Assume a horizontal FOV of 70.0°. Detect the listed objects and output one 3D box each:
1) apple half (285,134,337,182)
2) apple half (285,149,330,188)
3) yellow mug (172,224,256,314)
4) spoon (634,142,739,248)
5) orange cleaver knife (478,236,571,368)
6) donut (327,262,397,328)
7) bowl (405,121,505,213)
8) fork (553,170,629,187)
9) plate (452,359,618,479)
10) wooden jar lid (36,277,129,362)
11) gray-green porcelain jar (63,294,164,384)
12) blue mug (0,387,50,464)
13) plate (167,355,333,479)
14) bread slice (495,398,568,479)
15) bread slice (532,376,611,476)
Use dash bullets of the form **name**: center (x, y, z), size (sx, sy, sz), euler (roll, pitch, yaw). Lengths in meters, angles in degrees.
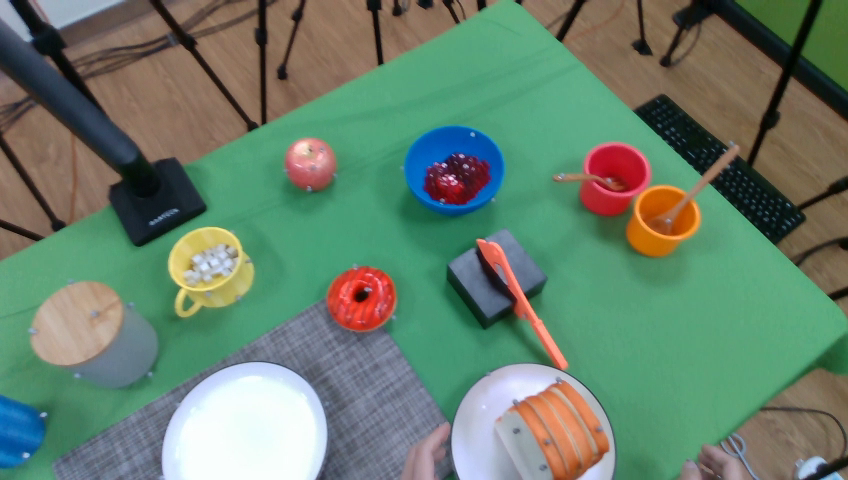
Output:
- **apple half**: center (-0.170, -0.132, 0.951), size (0.080, 0.075, 0.053), euler (18, 59, 14)
- **apple half**: center (-0.184, -0.101, 0.933), size (0.081, 0.082, 0.032), euler (20, 61, 10)
- **yellow mug**: center (-0.307, 0.048, 0.866), size (0.099, 0.064, 0.130), euler (22, 66, 11)
- **spoon**: center (0.378, -0.063, 0.871), size (0.022, 0.194, 0.041), euler (-5, 48, -53)
- **orange cleaver knife**: center (0.136, 0.084, 0.836), size (0.012, 0.077, 0.211), euler (-31, 92, -14)
- **donut**: center (-0.087, 0.078, 0.858), size (0.099, 0.048, 0.098), euler (0, 64, 0)
- **bowl**: center (0.046, -0.098, 0.929), size (0.151, 0.077, 0.150), euler (0, 64, 1)
- **fork**: center (0.247, -0.092, 0.887), size (0.208, 0.018, 0.028), euler (-1, 53, -48)
- **plate**: center (0.139, 0.257, 0.775), size (0.209, 0.038, 0.207), euler (0, 64, 0)
- **wooden jar lid**: center (-0.413, 0.098, 0.738), size (0.108, 0.021, 0.107), euler (-1, 62, 2)
- **gray-green porcelain jar**: center (-0.412, 0.127, 0.794), size (0.106, 0.127, 0.105), euler (0, 63, 1)
- **blue mug**: center (-0.545, 0.241, 0.748), size (0.082, 0.106, 0.116), euler (27, 67, 14)
- **plate**: center (-0.218, 0.252, 0.775), size (0.208, 0.039, 0.206), euler (0, 63, 1)
- **bread slice**: center (0.125, 0.243, 0.720), size (0.019, 0.132, 0.104), euler (-22, 65, -18)
- **bread slice**: center (0.175, 0.224, 0.730), size (0.018, 0.135, 0.106), euler (-23, 67, -21)
